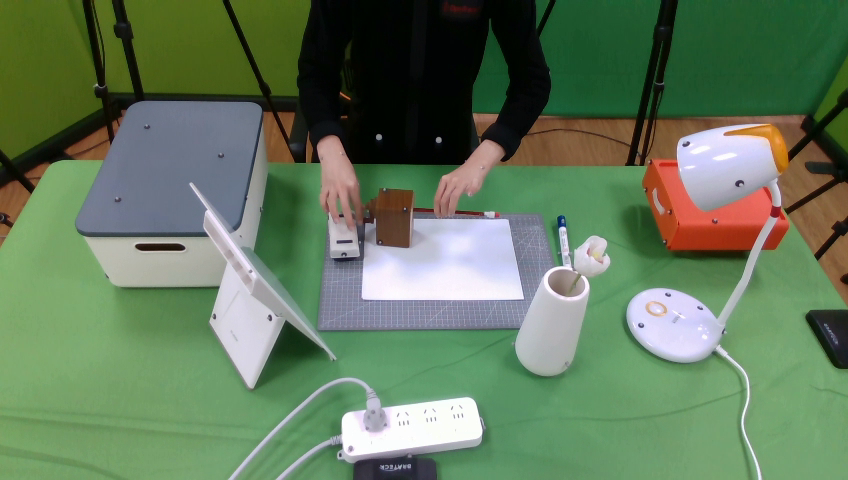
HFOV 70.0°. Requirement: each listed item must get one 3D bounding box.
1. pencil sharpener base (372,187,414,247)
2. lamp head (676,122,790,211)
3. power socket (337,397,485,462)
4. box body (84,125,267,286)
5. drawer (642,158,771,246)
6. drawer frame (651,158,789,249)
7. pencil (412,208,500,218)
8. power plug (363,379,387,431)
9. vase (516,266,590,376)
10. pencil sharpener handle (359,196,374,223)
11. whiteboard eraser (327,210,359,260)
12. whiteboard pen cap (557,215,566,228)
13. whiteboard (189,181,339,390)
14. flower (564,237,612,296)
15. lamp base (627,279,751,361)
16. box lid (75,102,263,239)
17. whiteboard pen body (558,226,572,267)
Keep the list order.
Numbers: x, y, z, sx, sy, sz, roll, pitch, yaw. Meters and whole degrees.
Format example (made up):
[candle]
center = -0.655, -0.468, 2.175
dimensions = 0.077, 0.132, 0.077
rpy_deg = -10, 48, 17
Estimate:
[pencil sharpener base]
center = -0.060, -0.043, 1.171
dimensions = 0.077, 0.107, 0.061
rpy_deg = 5, 46, 1
[lamp head]
center = 0.423, -0.104, 0.819
dimensions = 0.122, 0.113, 0.112
rpy_deg = -13, 33, 40
[power socket]
center = -0.018, 0.285, 0.915
dimensions = 0.227, 0.033, 0.071
rpy_deg = -5, 46, -8
[box body]
center = -0.446, -0.088, 1.150
dimensions = 0.254, 0.161, 0.361
rpy_deg = -1, 46, -5
[drawer]
center = 0.565, -0.076, 1.211
dimensions = 0.212, 0.073, 0.193
rpy_deg = 2, 45, -2
[drawer frame]
center = 0.571, -0.075, 1.214
dimensions = 0.214, 0.083, 0.200
rpy_deg = 0, 45, -1
[pencil]
center = 0.047, -0.053, 1.149
dimensions = 0.194, 0.012, 0.012
rpy_deg = 3, 46, 2
[power plug]
center = -0.072, 0.252, 0.910
dimensions = 0.035, 0.053, 0.072
rpy_deg = 3, 45, -1
[vase]
center = 0.208, 0.132, 0.964
dimensions = 0.098, 0.201, 0.097
rpy_deg = 3, 46, -3
[pencil sharpener handle]
center = -0.111, -0.057, 1.163
dimensions = 0.030, 0.068, 0.036
rpy_deg = 5, 49, 1
[whiteboard eraser]
center = -0.159, -0.009, 1.177
dimensions = 0.055, 0.042, 0.112
rpy_deg = -6, 47, -7
[whiteboard pen cap]
center = 0.284, -0.035, 1.246
dimensions = 0.018, 0.018, 0.033
rpy_deg = 4, 52, -1
[whiteboard]
center = -0.292, 0.096, 0.929
dimensions = 0.144, 0.307, 0.216
rpy_deg = -37, 57, -10
[flower]
center = 0.206, 0.088, 0.893
dimensions = 0.038, 0.363, 0.044
rpy_deg = -16, 67, -9
[lamp base]
center = 0.459, 0.100, 1.027
dimensions = 0.178, 0.181, 0.160
rpy_deg = 27, 51, 17
[box lid]
center = -0.443, -0.138, 1.094
dimensions = 0.263, 0.015, 0.369
rpy_deg = -1, 47, -5
[whiteboard pen body]
center = 0.280, 0.010, 1.208
dimensions = 0.017, 0.017, 0.140
rpy_deg = 3, 50, -1
